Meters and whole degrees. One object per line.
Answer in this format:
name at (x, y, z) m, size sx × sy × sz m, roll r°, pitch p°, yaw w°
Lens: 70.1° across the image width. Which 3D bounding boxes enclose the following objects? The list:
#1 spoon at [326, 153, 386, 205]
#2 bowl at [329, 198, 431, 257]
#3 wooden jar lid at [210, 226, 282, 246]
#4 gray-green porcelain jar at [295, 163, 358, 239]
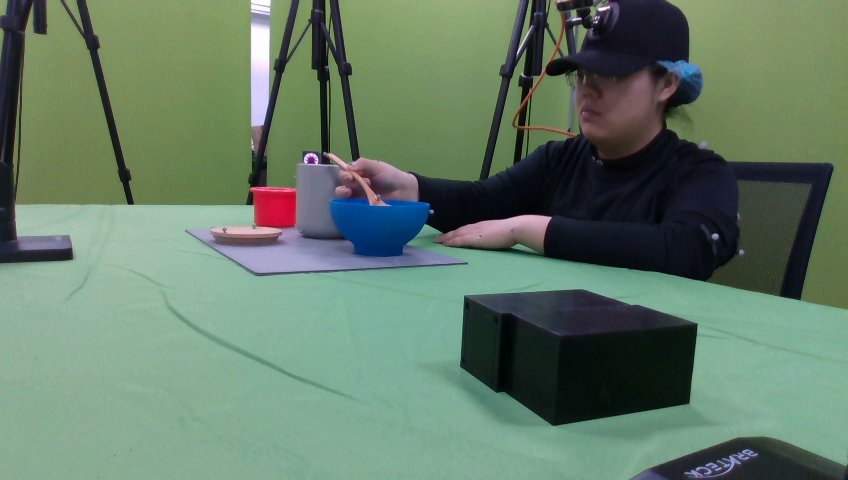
spoon at (-0.096, -0.085, 0.927) m, size 0.042 × 0.021 × 0.193 m, roll -7°, pitch 44°, yaw -42°
bowl at (-0.067, -0.019, 0.894) m, size 0.151 × 0.077 × 0.151 m, roll 3°, pitch 7°, yaw 0°
wooden jar lid at (-0.279, -0.007, 0.951) m, size 0.108 × 0.020 × 0.108 m, roll 2°, pitch 8°, yaw 0°
gray-green porcelain jar at (-0.170, -0.069, 1.054) m, size 0.106 × 0.126 × 0.106 m, roll 3°, pitch 7°, yaw 0°
